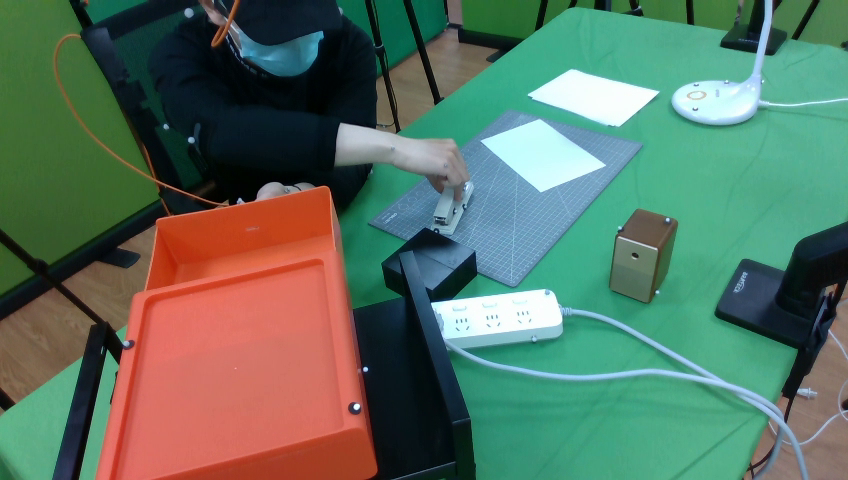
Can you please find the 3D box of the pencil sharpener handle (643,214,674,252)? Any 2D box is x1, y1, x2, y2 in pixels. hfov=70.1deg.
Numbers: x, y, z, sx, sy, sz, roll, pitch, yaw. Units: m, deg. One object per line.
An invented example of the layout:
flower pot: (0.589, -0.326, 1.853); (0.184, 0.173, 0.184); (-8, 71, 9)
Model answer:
pencil sharpener handle: (0.337, -0.016, 0.857); (0.035, 0.068, 0.031); (1, 35, 44)

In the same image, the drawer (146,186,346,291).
drawer: (-0.180, 0.048, 0.622); (0.195, 0.073, 0.210); (-11, 42, -5)

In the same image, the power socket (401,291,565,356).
power socket: (0.080, 0.112, 0.822); (0.227, 0.033, 0.072); (-6, 41, 0)

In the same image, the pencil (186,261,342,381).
pencil: (-0.157, 0.077, 0.619); (0.012, 0.012, 0.194); (29, 55, 35)

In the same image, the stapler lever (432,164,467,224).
stapler lever: (0.043, -0.079, 1.006); (0.026, 0.040, 0.118); (8, 50, 22)

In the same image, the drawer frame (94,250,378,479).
drawer frame: (-0.156, 0.119, 0.532); (0.202, 0.083, 0.212); (-12, 41, -7)

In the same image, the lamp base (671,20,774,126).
lamp base: (0.581, -0.332, 1.154); (0.179, 0.181, 0.160); (2, 41, 7)

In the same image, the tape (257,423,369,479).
tape: (-0.120, 0.262, 0.660); (0.117, 0.053, 0.116); (-4, 40, 4)

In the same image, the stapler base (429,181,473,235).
stapler base: (0.047, -0.063, 1.026); (0.041, 0.024, 0.130); (8, 49, 22)

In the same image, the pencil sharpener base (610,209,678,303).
pencil sharpener base: (0.304, 0.021, 0.839); (0.061, 0.107, 0.077); (21, 48, 30)

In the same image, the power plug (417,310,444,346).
power plug: (0.006, 0.122, 0.785); (0.035, 0.053, 0.072); (0, 40, 9)
